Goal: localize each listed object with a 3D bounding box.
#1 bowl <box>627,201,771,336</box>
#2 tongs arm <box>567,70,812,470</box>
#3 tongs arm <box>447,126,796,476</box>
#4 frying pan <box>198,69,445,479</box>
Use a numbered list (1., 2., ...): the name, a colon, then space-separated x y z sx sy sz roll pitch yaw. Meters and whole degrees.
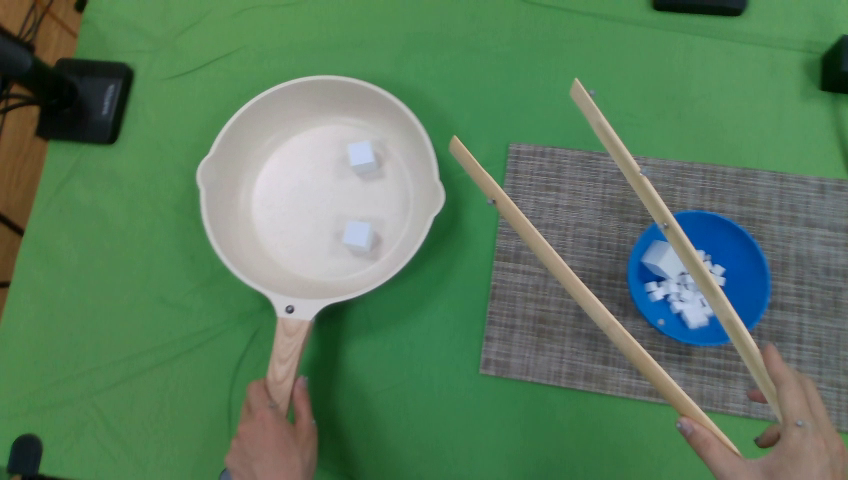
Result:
1. bowl: 0.302 0.038 0.695 0.151 0.077 0.150 -1 77 4
2. tongs arm: 0.211 0.009 0.527 0.051 0.026 0.382 -24 71 -16
3. tongs arm: 0.146 0.042 0.507 0.028 0.028 0.385 -34 74 -23
4. frying pan: -0.141 0.028 0.724 0.306 0.103 0.485 8 70 7
